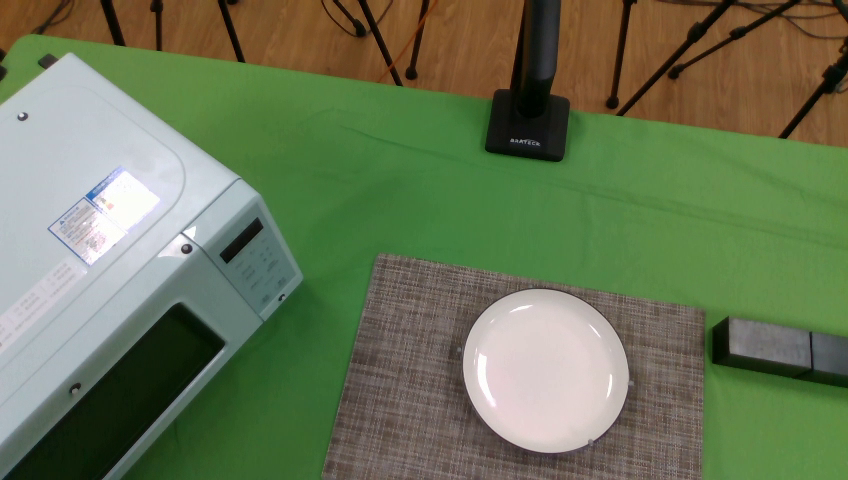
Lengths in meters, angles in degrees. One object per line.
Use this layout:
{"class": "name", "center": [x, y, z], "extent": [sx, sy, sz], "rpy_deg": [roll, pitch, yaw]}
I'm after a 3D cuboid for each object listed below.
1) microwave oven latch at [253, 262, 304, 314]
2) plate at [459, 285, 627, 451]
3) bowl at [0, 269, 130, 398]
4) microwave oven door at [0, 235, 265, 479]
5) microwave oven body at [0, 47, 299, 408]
{"class": "microwave oven latch", "center": [-0.193, 0.057, 0.796], "extent": [0.030, 0.030, 0.079], "rpy_deg": [37, 72, 15]}
{"class": "plate", "center": [0.147, 0.160, 0.764], "extent": [0.208, 0.039, 0.206], "rpy_deg": [0, 66, 0]}
{"class": "bowl", "center": [-0.408, 0.117, 0.705], "extent": [0.151, 0.077, 0.150], "rpy_deg": [-1, 62, 2]}
{"class": "microwave oven door", "center": [-0.331, 0.173, 0.634], "extent": [0.039, 0.245, 0.355], "rpy_deg": [35, 71, 16]}
{"class": "microwave oven body", "center": [-0.421, 0.064, 0.689], "extent": [0.324, 0.262, 0.440], "rpy_deg": [35, 71, 14]}
